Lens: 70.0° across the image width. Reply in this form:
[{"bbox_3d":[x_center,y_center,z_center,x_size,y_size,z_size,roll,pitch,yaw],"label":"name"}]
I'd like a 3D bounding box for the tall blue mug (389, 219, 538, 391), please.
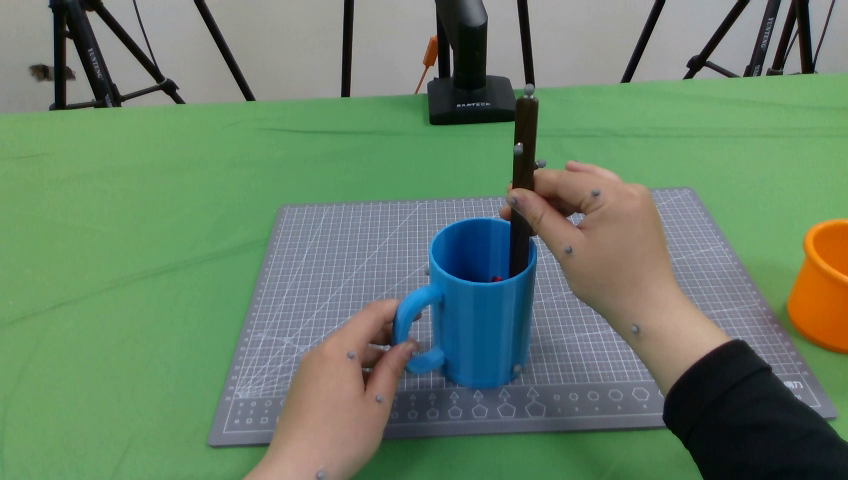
[{"bbox_3d":[0.034,0.058,0.444,0.077,0.109,0.107,19,43,24],"label":"tall blue mug"}]

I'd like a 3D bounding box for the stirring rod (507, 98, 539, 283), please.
[{"bbox_3d":[0.065,-0.015,0.408,0.014,0.178,0.006,9,42,15],"label":"stirring rod"}]
